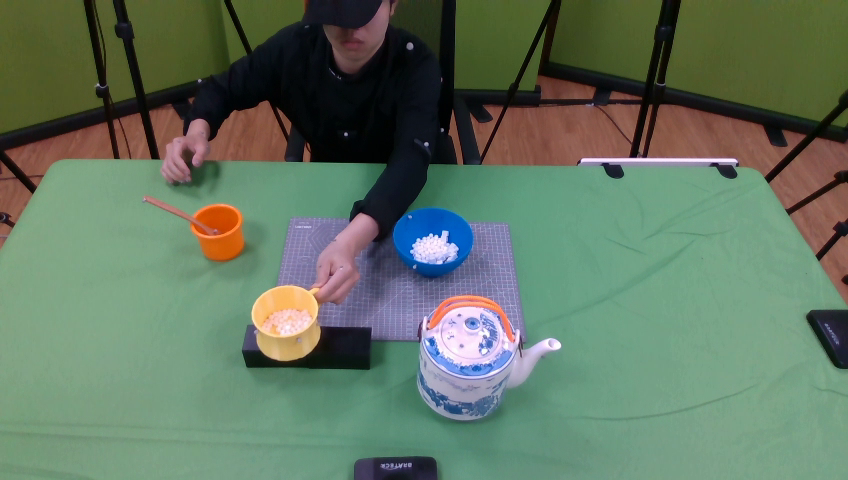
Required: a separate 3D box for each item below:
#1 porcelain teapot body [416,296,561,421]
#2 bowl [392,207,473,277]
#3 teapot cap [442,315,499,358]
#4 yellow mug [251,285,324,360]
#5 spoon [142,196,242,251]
[{"bbox_3d":[0.094,0.164,0.907,0.205,0.226,0.144,6,45,1],"label":"porcelain teapot body"},{"bbox_3d":[0.014,0.016,1.140,0.151,0.077,0.150,2,46,-2],"label":"bowl"},{"bbox_3d":[0.068,0.133,0.880,0.085,0.044,0.084,4,45,-4],"label":"teapot cap"},{"bbox_3d":[-0.206,0.120,0.958,0.099,0.064,0.130,31,50,22],"label":"yellow mug"},{"bbox_3d":[-0.421,-0.032,1.108,0.021,0.195,0.041,-32,40,28],"label":"spoon"}]
